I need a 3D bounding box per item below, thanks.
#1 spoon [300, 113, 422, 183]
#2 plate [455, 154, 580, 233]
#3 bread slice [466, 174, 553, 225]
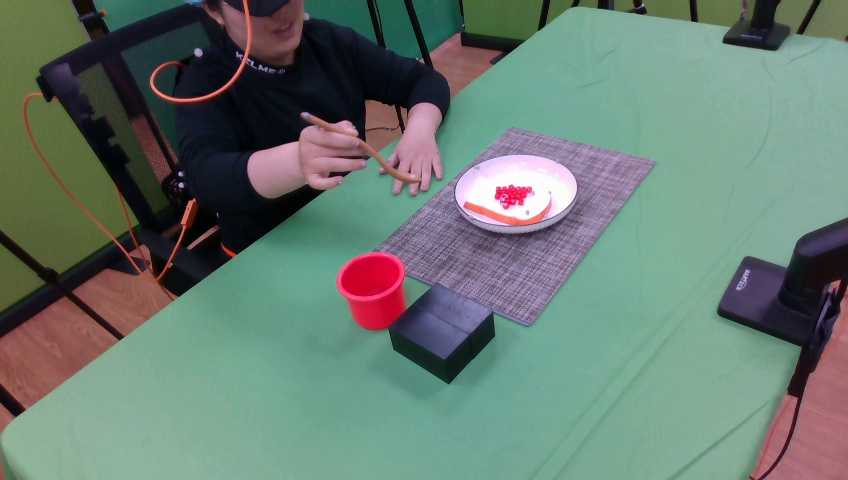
[{"bbox_3d":[-0.080,-0.121,0.803,0.021,0.195,0.041,-56,34,5],"label":"spoon"},{"bbox_3d":[0.158,-0.076,1.028,0.209,0.038,0.208,-5,40,5],"label":"plate"},{"bbox_3d":[0.152,-0.067,1.022,0.130,0.019,0.105,22,50,34],"label":"bread slice"}]
